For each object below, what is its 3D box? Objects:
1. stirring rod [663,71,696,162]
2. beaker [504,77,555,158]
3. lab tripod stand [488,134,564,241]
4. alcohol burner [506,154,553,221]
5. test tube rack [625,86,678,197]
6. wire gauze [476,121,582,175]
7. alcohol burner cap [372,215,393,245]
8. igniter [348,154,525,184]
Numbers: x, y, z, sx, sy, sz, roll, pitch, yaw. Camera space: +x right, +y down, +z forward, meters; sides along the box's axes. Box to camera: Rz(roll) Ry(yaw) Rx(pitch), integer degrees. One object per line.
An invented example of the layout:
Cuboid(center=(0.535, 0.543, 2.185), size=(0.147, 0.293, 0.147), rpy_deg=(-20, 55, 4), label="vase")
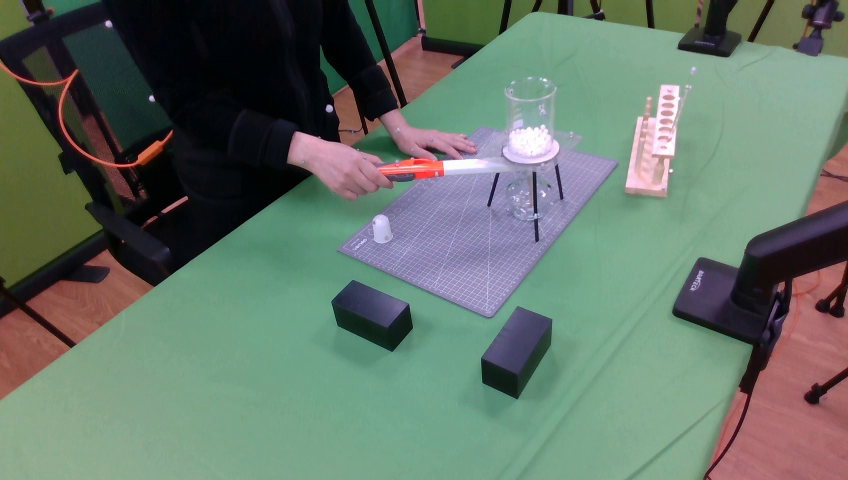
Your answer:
Cuboid(center=(0.410, -0.195, 0.981), size=(0.014, 0.177, 0.006), rpy_deg=(12, 50, 14), label="stirring rod")
Cuboid(center=(0.160, -0.181, 0.900), size=(0.084, 0.101, 0.073), rpy_deg=(-33, 46, -27), label="beaker")
Cuboid(center=(0.168, -0.092, 0.972), size=(0.148, 0.132, 0.147), rpy_deg=(-5, 41, 5), label="lab tripod stand")
Cuboid(center=(0.171, -0.090, 0.985), size=(0.078, 0.119, 0.077), rpy_deg=(-5, 42, 5), label="alcohol burner")
Cuboid(center=(0.412, -0.184, 1.088), size=(0.066, 0.085, 0.242), rpy_deg=(9, 43, 18), label="test tube rack")
Cuboid(center=(0.162, -0.142, 0.929), size=(0.120, 0.011, 0.125), rpy_deg=(19, 49, 32), label="wire gauze")
Cuboid(center=(-0.070, -0.019, 0.990), size=(0.034, 0.048, 0.033), rpy_deg=(-4, 41, 4), label="alcohol burner cap")
Cuboid(center=(0.019, -0.112, 0.948), size=(0.277, 0.025, 0.057), rpy_deg=(-4, 36, -1), label="igniter")
